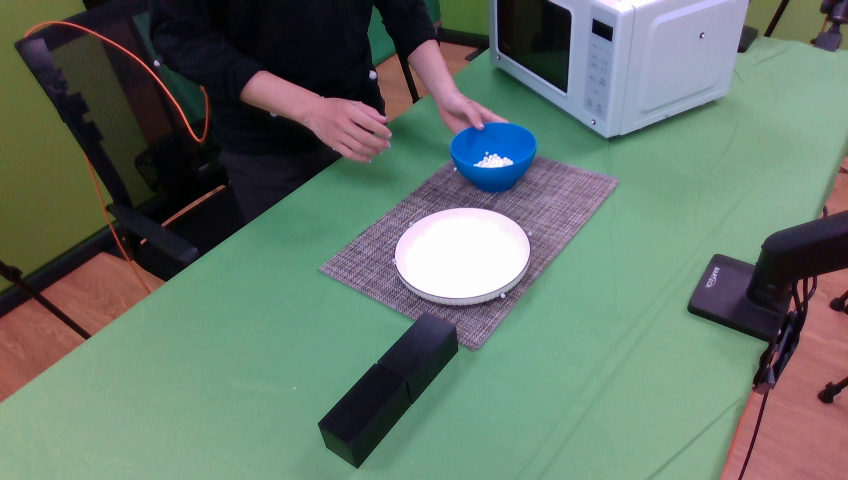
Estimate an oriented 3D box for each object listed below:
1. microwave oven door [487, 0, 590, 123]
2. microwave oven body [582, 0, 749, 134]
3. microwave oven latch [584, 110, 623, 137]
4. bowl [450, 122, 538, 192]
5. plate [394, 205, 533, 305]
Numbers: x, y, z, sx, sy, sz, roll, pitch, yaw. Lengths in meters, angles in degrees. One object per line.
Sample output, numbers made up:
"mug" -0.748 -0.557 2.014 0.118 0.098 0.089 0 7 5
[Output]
"microwave oven door" 0.232 -0.420 1.231 0.039 0.245 0.352 -22 43 -16
"microwave oven body" 0.382 -0.444 1.246 0.327 0.261 0.437 -22 42 -16
"microwave oven latch" 0.337 -0.222 1.142 0.030 0.029 0.078 -21 42 -14
"bowl" 0.123 -0.137 1.064 0.151 0.077 0.150 -4 40 4
"plate" 0.059 0.025 0.915 0.207 0.039 0.206 -4 41 4
